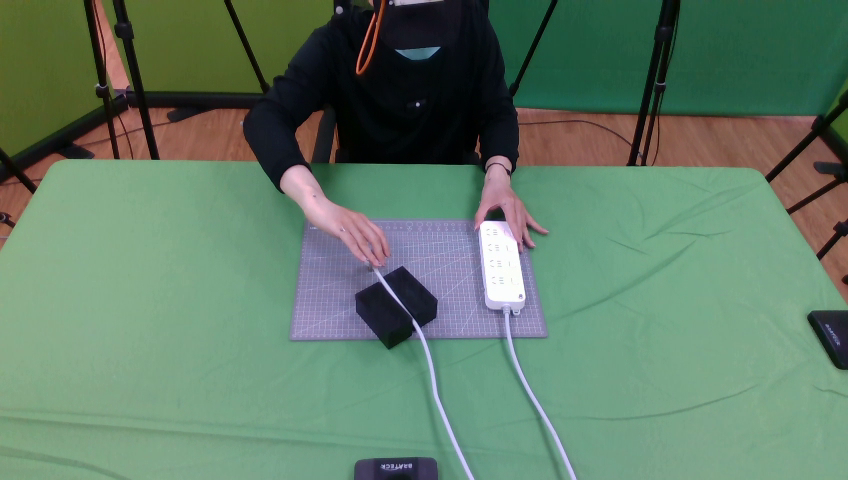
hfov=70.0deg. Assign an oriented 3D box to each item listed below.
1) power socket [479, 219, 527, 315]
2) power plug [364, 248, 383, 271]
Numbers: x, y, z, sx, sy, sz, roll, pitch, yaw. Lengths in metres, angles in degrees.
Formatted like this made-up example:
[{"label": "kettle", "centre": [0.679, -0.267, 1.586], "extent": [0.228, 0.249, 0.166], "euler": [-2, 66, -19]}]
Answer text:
[{"label": "power socket", "centre": [0.148, 0.042, 1.151], "extent": [0.072, 0.033, 0.225], "euler": [0, 47, -1]}, {"label": "power plug", "centre": [-0.099, 0.044, 1.116], "extent": [0.035, 0.053, 0.072], "euler": [14, 42, 9]}]
